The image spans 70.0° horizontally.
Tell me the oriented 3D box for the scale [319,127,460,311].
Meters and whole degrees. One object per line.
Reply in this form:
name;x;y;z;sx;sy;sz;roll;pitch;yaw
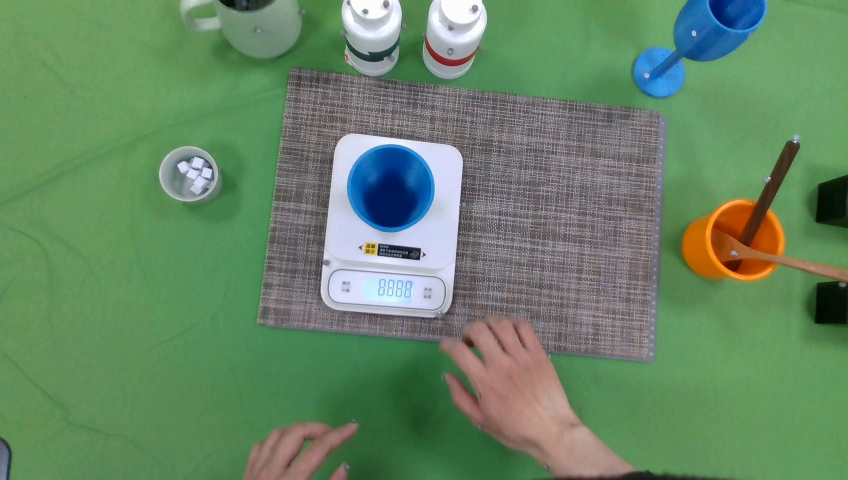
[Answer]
scale;-0.038;-0.023;0.685;0.149;0.031;0.200;5;84;-4

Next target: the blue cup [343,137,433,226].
blue cup;-0.038;-0.052;0.622;0.093;0.100;0.092;0;86;-4

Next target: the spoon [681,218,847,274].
spoon;0.379;0.012;0.662;0.022;0.192;0.041;20;89;-46

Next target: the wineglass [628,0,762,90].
wineglass;0.290;-0.227;0.667;0.074;0.172;0.073;0;83;-4

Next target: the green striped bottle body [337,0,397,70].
green striped bottle body;-0.062;-0.239;0.665;0.063;0.119;0.063;1;83;-4

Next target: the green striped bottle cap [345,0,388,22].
green striped bottle cap;-0.059;-0.246;0.613;0.044;0.020;0.044;1;83;-5

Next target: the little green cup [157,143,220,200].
little green cup;-0.257;-0.074;0.671;0.061;0.038;0.061;1;84;-6

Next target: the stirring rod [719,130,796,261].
stirring rod;0.364;-0.042;0.667;0.014;0.177;0.006;12;42;9

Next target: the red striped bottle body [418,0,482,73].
red striped bottle body;0.028;-0.238;0.673;0.063;0.120;0.063;1;83;-5

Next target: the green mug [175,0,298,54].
green mug;-0.206;-0.260;0.663;0.125;0.105;0.092;-17;86;-6

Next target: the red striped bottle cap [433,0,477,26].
red striped bottle cap;0.032;-0.244;0.621;0.044;0.018;0.044;1;82;-8
